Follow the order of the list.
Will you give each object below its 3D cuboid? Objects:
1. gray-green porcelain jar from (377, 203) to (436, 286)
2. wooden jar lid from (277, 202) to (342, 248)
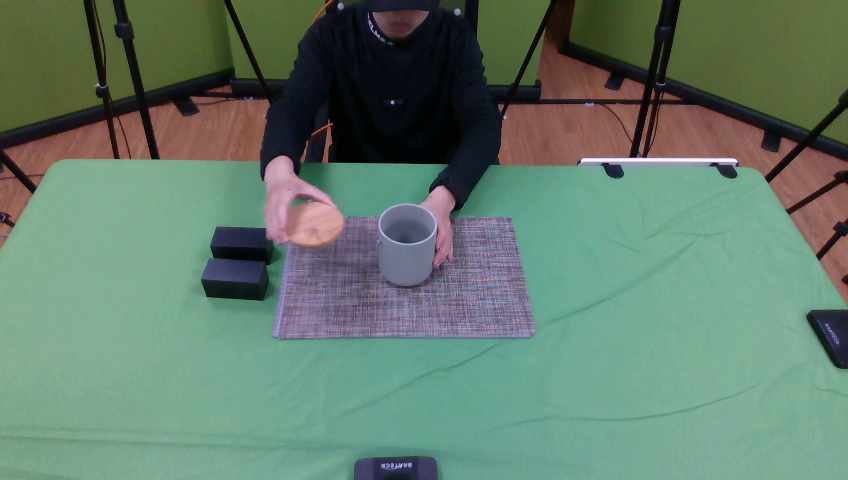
[{"bbox_3d":[-0.033,0.014,1.106,0.106,0.127,0.105,2,46,-2],"label":"gray-green porcelain jar"},{"bbox_3d":[-0.194,-0.024,1.033,0.108,0.021,0.107,4,43,-3],"label":"wooden jar lid"}]
